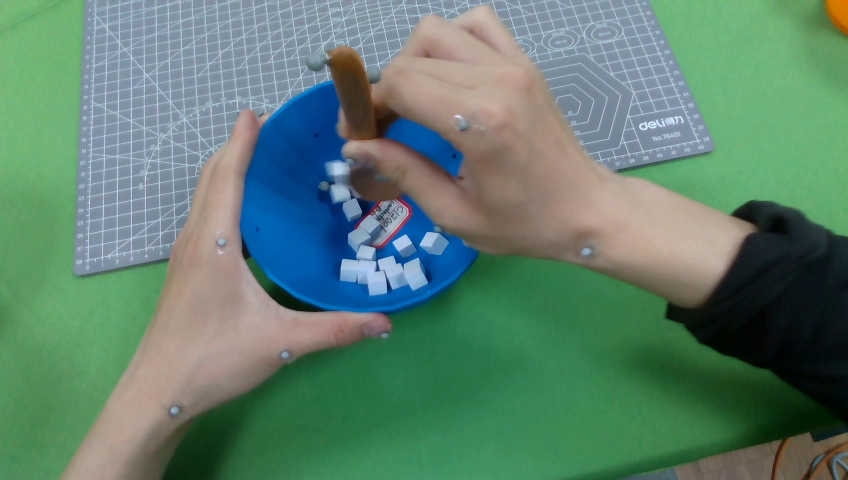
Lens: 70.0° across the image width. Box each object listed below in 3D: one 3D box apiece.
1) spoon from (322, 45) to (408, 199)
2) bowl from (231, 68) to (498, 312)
[{"bbox_3d":[-0.029,-0.047,0.301,0.041,0.194,0.021,-2,84,-2],"label":"spoon"},{"bbox_3d":[-0.032,-0.020,0.376,0.151,0.077,0.150,0,70,1],"label":"bowl"}]
